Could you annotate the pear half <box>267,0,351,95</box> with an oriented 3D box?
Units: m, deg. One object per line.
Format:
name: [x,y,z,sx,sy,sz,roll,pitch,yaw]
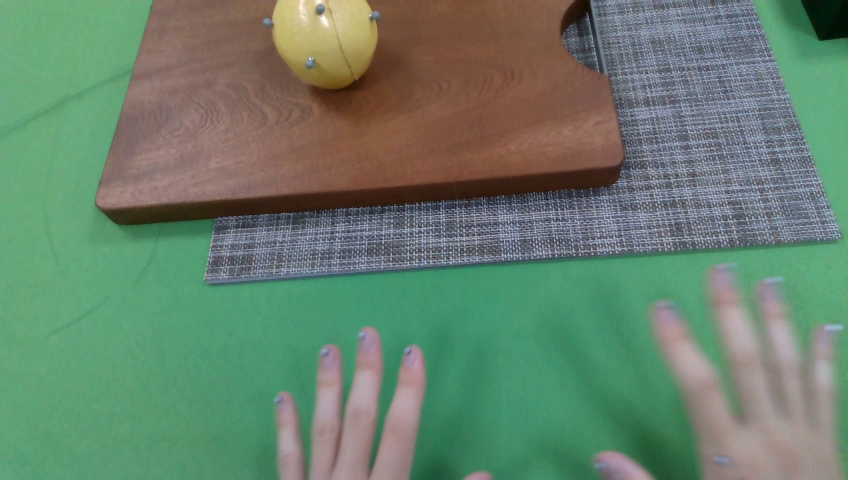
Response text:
pear half: [-0.094,-0.160,0.456,0.056,0.111,0.075,-19,57,-2]

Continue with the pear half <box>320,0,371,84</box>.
pear half: [-0.059,-0.164,0.465,0.031,0.089,0.069,-18,57,-3]
